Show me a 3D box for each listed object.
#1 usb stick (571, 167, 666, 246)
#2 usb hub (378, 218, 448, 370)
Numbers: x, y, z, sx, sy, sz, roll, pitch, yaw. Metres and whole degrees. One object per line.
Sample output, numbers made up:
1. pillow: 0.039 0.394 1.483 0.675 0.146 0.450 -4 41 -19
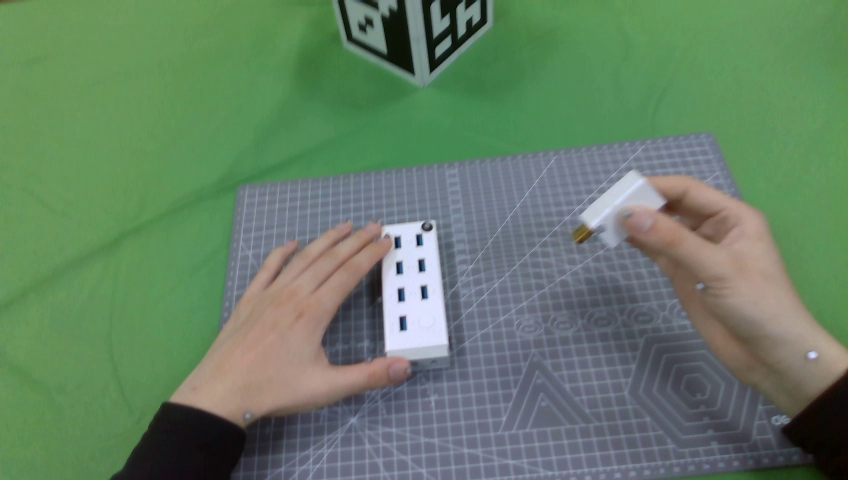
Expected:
1. usb stick: 0.121 -0.016 0.387 0.059 0.027 0.021 -42 20 14
2. usb hub: -0.010 0.040 0.486 0.049 0.025 0.124 -6 57 1
